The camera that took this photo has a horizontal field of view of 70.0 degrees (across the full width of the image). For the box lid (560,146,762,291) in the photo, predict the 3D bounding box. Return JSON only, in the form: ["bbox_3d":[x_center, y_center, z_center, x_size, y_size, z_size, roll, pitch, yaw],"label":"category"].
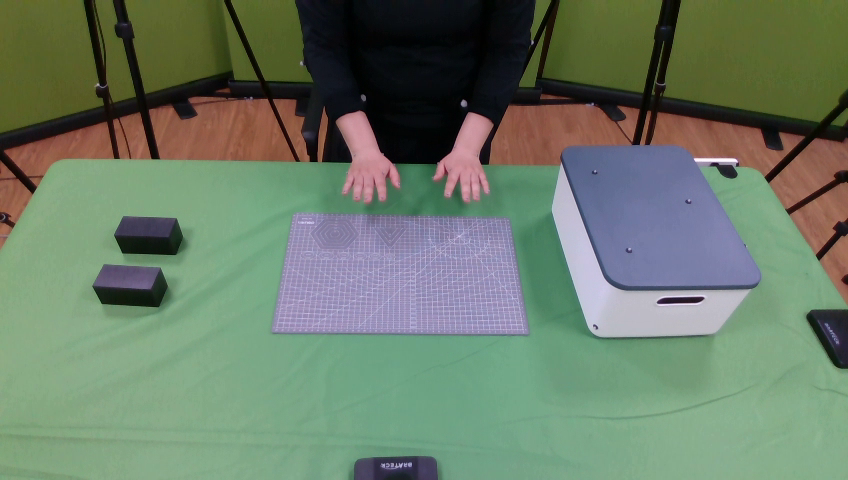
[{"bbox_3d":[0.404,-0.052,1.076,0.263,0.015,0.369,-1,45,-5],"label":"box lid"}]

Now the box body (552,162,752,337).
[{"bbox_3d":[0.401,-0.001,1.131,0.254,0.161,0.361,-1,46,-5],"label":"box body"}]
